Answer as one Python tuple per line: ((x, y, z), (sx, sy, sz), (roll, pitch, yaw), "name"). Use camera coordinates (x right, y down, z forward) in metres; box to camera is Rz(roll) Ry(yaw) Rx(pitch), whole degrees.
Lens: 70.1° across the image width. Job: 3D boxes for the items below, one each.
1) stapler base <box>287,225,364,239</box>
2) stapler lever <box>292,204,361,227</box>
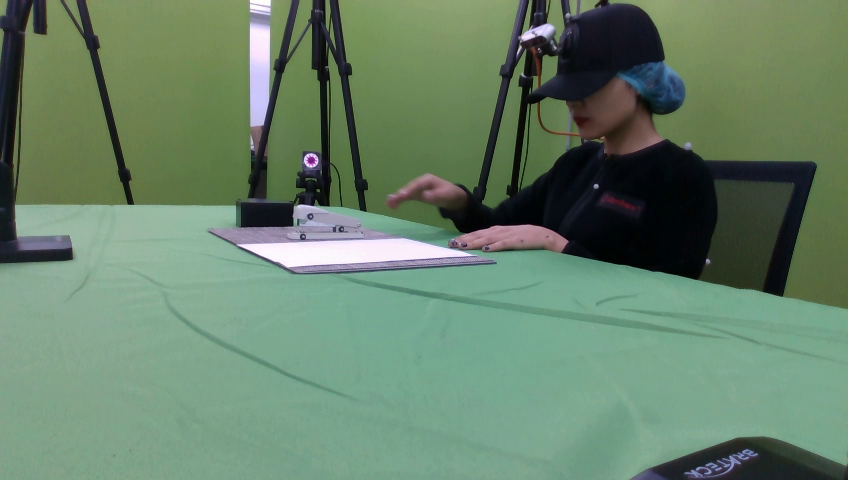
((-0.169, -0.016, 1.039), (0.131, 0.024, 0.041), (0, 11, -29), "stapler base")
((-0.166, -0.041, 1.037), (0.119, 0.040, 0.026), (-1, 11, -28), "stapler lever")
